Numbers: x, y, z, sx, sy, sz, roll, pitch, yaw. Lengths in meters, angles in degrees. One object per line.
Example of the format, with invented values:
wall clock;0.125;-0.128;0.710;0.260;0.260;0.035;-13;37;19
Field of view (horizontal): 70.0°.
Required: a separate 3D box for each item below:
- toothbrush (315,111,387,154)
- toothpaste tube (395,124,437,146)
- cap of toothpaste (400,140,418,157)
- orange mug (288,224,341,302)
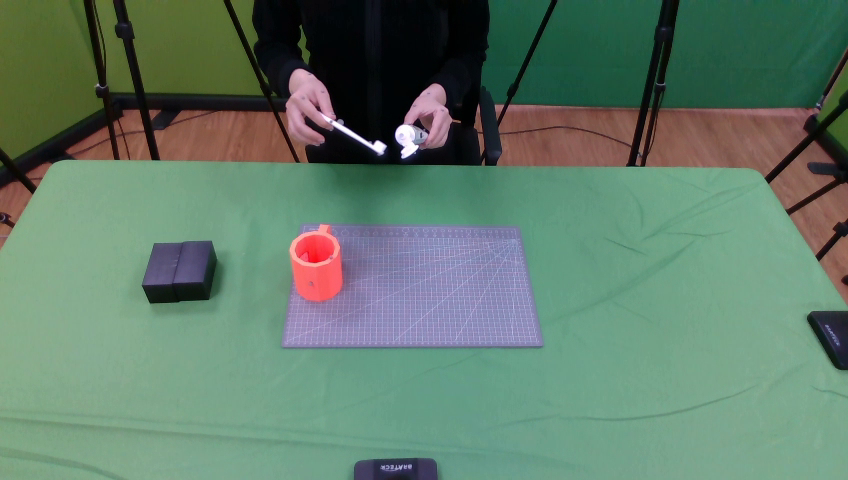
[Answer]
toothbrush;-0.123;-0.181;0.995;0.181;0.014;0.016;33;96;35
toothpaste tube;-0.016;-0.188;1.073;0.055;0.034;0.165;35;19;4
cap of toothpaste;-0.025;-0.150;0.992;0.037;0.011;0.037;-34;22;16
orange mug;-0.192;0.034;1.094;0.083;0.101;0.125;7;50;2
